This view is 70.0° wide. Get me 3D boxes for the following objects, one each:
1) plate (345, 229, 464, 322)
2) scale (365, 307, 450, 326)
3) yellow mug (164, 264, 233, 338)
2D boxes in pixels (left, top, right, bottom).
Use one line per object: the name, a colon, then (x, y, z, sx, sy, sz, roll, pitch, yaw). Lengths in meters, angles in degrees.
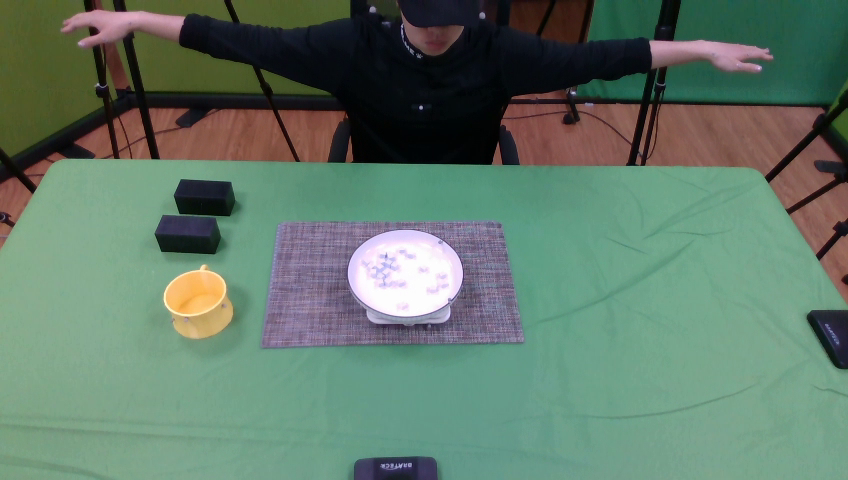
plate: (-0.034, 0.065, 1.073, 0.209, 0.038, 0.208, 2, 46, -2)
scale: (-0.032, 0.071, 1.113, 0.149, 0.032, 0.199, 0, 46, -4)
yellow mug: (-0.384, 0.097, 1.043, 0.100, 0.064, 0.130, -1, 45, -5)
